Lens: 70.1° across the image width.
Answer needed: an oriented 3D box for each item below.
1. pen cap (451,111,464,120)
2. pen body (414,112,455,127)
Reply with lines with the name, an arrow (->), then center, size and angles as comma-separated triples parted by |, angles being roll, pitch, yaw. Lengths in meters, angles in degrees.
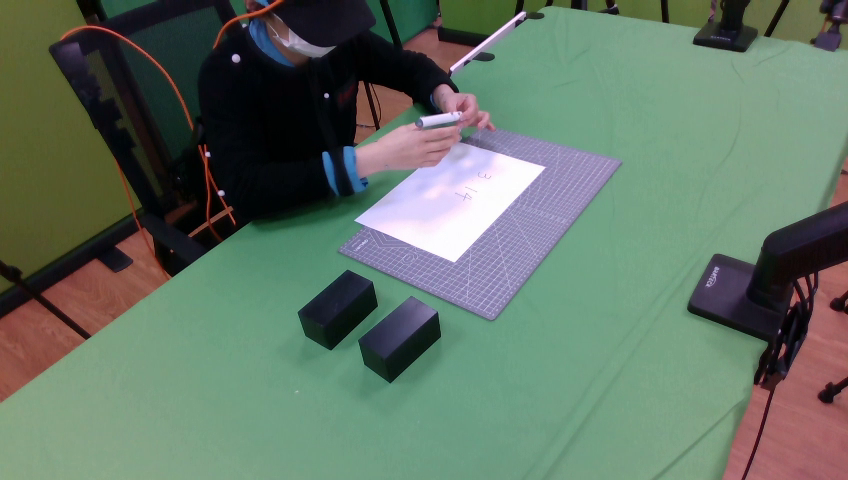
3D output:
pen cap -> 0.059, -0.229, 1.109 | 0.017, 0.017, 0.039 | 20, 24, 28
pen body -> 0.027, -0.212, 1.059 | 0.017, 0.017, 0.145 | 18, 24, 27
